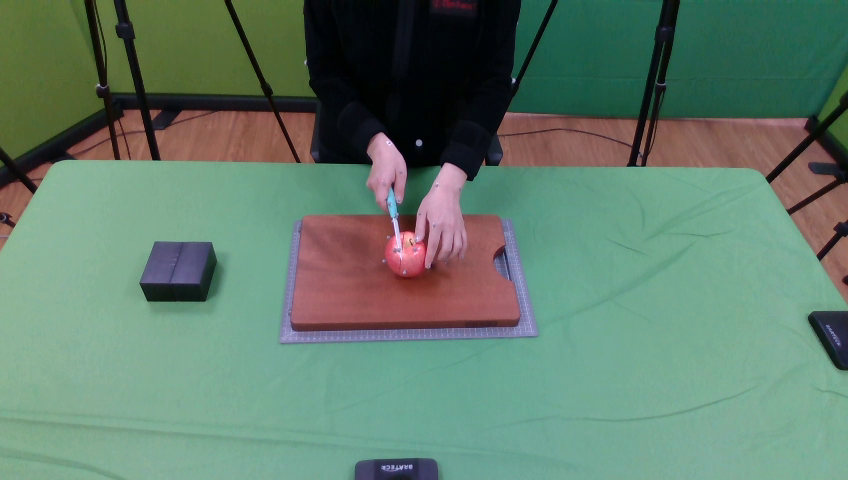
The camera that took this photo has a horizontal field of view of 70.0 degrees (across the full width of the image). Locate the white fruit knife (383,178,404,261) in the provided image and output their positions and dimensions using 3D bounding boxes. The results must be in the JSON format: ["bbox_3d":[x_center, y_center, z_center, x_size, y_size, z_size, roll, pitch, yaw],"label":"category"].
[{"bbox_3d":[-0.053,-0.041,1.076,0.016,0.027,0.206,-24,48,12],"label":"white fruit knife"}]

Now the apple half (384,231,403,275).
[{"bbox_3d":[-0.056,0.025,1.093,0.033,0.081,0.081,5,46,-3],"label":"apple half"}]

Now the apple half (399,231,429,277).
[{"bbox_3d":[-0.018,0.028,1.094,0.053,0.075,0.080,5,42,-3],"label":"apple half"}]
